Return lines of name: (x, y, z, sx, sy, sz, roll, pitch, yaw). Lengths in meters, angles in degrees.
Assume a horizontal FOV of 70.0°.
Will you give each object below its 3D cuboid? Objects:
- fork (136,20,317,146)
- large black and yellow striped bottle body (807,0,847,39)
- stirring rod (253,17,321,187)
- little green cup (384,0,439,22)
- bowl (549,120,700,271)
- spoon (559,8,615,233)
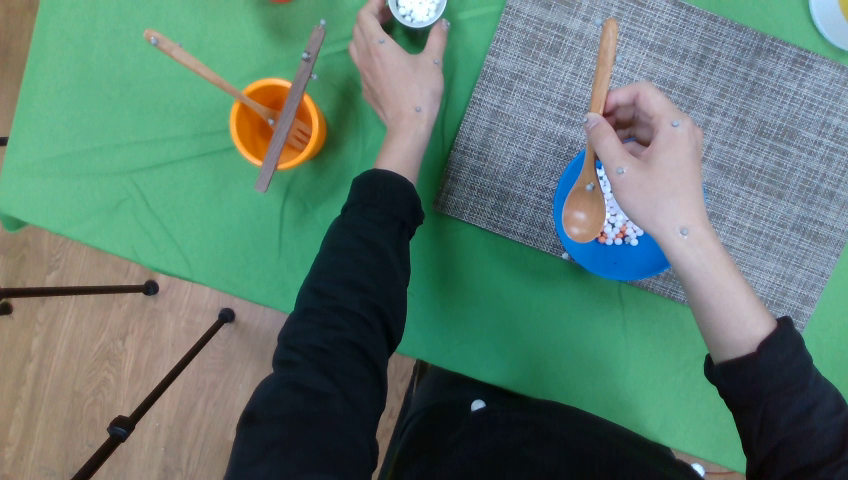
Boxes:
fork: (-0.190, -0.153, 0.609, 0.028, 0.018, 0.209, -48, 138, 10)
large black and yellow striped bottle body: (0.459, -0.261, 0.549, 0.131, 0.183, 0.131, 0, 99, 3)
stirring rod: (-0.138, -0.136, 0.607, 0.014, 0.006, 0.176, 21, 100, 0)
little green cup: (-0.012, -0.262, 0.640, 0.061, 0.038, 0.062, 1, 100, 3)
bowl: (0.203, -0.048, 0.643, 0.151, 0.076, 0.151, 0, 99, 2)
spoon: (0.140, -0.091, 0.507, 0.041, 0.021, 0.195, 23, 133, 31)
